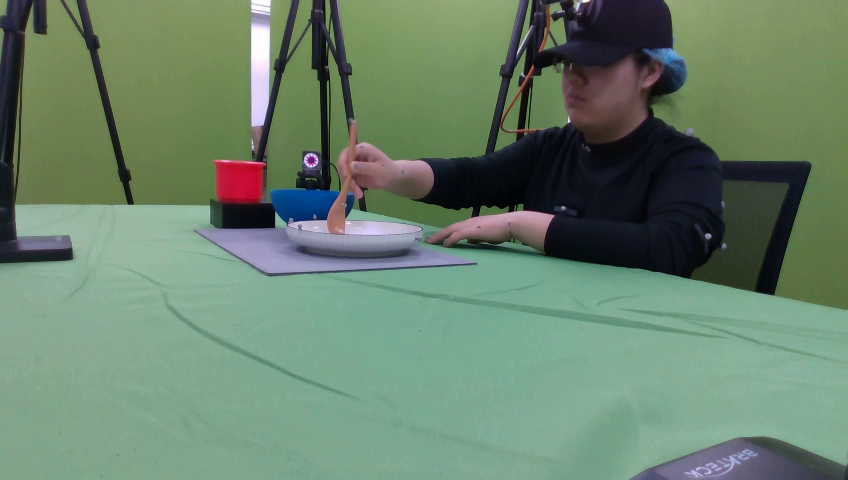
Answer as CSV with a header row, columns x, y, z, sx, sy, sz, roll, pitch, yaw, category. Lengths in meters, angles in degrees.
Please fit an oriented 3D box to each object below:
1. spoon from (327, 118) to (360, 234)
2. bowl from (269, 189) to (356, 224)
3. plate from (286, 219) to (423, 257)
x,y,z,sx,sy,sz,roll,pitch,yaw,category
-0.121,-0.097,0.946,0.021,0.193,0.042,11,-5,35,spoon
-0.199,-0.049,1.080,0.151,0.077,0.151,3,7,0,bowl
-0.105,-0.004,0.922,0.208,0.039,0.207,3,7,0,plate
